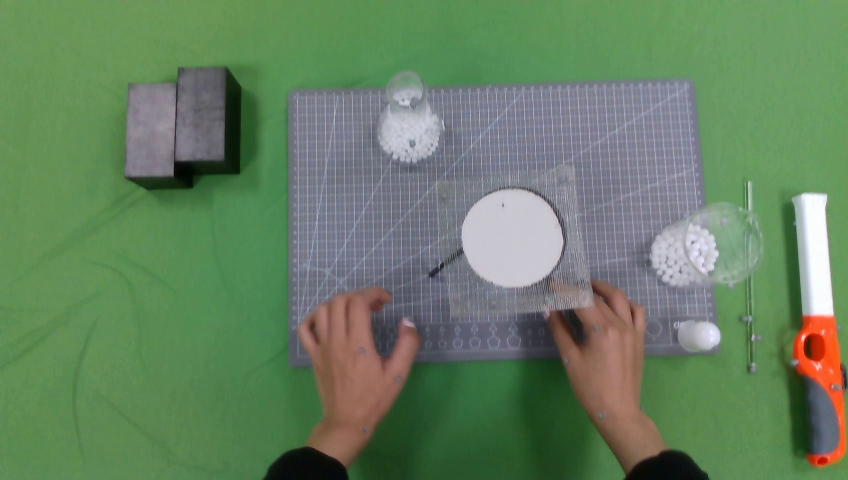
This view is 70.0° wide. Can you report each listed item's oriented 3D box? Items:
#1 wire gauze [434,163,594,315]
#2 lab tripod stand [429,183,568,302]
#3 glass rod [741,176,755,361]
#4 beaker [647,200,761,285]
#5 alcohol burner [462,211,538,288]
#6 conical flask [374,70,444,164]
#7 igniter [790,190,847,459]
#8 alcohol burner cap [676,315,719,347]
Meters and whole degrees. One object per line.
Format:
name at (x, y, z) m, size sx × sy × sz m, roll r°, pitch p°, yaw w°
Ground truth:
wire gauze at (0.076, -0.001, 0.515) m, size 0.125 × 0.011 × 0.121 m, roll -6°, pitch 82°, yaw -1°
lab tripod stand at (0.076, 0.007, 0.582) m, size 0.148 × 0.132 × 0.148 m, roll 0°, pitch 83°, yaw 1°
glass rod at (0.346, 0.028, 0.646) m, size 0.008 × 0.008 × 0.199 m, roll 2°, pitch 82°, yaw 0°
beaker at (0.273, 0.005, 0.600) m, size 0.084 × 0.100 × 0.074 m, roll -39°, pitch 83°, yaw -6°
alcohol burner at (0.076, 0.007, 0.592) m, size 0.078 × 0.119 × 0.077 m, roll 0°, pitch 80°, yaw 1°
conical flask at (-0.017, -0.127, 0.606) m, size 0.075 × 0.122 × 0.075 m, roll 0°, pitch 81°, yaw 0°
igniter at (0.407, 0.084, 0.629) m, size 0.057 × 0.025 × 0.275 m, roll 2°, pitch 82°, yaw -10°
alcohol burner cap at (0.281, 0.092, 0.617) m, size 0.034 × 0.048 × 0.033 m, roll 0°, pitch 81°, yaw 0°
